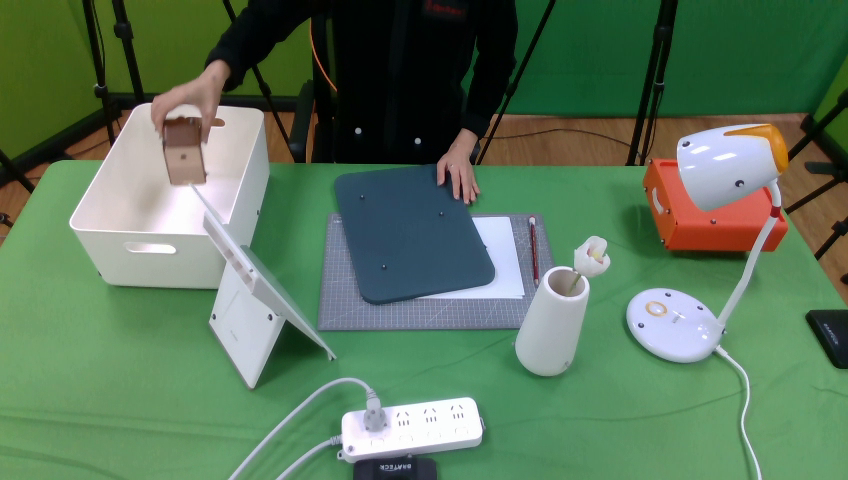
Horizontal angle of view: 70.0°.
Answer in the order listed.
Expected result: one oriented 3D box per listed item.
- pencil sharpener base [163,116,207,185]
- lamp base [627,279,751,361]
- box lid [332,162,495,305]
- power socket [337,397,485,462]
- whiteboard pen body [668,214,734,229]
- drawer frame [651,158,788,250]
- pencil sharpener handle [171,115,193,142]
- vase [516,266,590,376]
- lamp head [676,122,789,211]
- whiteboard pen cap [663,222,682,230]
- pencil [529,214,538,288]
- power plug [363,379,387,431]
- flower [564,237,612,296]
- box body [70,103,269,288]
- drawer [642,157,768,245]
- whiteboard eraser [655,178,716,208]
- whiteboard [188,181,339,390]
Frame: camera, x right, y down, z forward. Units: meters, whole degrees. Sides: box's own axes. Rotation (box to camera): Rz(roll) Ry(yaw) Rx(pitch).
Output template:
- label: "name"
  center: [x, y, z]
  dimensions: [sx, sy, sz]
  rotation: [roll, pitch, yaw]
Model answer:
- label: "pencil sharpener base"
  center: [-0.424, -0.159, 1.077]
  dimensions: [0.061, 0.107, 0.076]
  rotation: [-6, 57, -17]
- label: "lamp base"
  center: [0.459, 0.100, 1.027]
  dimensions: [0.178, 0.181, 0.160]
  rotation: [27, 51, 17]
- label: "box lid"
  center: [-0.031, -0.028, 1.228]
  dimensions: [0.264, 0.015, 0.369]
  rotation: [-9, 47, -13]
- label: "power socket"
  center: [-0.018, 0.285, 0.915]
  dimensions: [0.227, 0.033, 0.071]
  rotation: [-5, 46, -8]
- label: "whiteboard pen body"
  center: [0.547, -0.035, 1.200]
  dimensions: [0.141, 0.017, 0.017]
  rotation: [-8, 48, -9]
- label: "drawer frame"
  center: [0.571, -0.074, 1.213]
  dimensions: [0.214, 0.083, 0.200]
  rotation: [1, 46, 0]
- label: "pencil sharpener handle"
  center: [-0.434, -0.208, 1.093]
  dimensions: [0.036, 0.068, 0.030]
  rotation: [-6, 57, -17]
- label: "vase"
  center: [0.208, 0.132, 0.964]
  dimensions: [0.098, 0.201, 0.097]
  rotation: [3, 46, -3]
- label: "lamp head"
  center: [0.423, -0.104, 0.819]
  dimensions: [0.122, 0.113, 0.112]
  rotation: [-13, 33, 40]
- label: "whiteboard pen cap"
  center: [0.487, -0.027, 1.188]
  dimensions: [0.033, 0.018, 0.018]
  rotation: [0, 46, -15]
- label: "pencil"
  center: [0.219, 0.019, 1.202]
  dimensions: [0.012, 0.012, 0.193]
  rotation: [5, 48, 1]
- label: "power plug"
  center: [-0.072, 0.252, 0.910]
  dimensions: [0.035, 0.053, 0.072]
  rotation: [3, 45, -1]
- label: "flower"
  center: [0.206, 0.088, 0.892]
  dimensions: [0.038, 0.363, 0.044]
  rotation: [-16, 67, -9]
- label: "box body"
  center: [-0.450, -0.087, 1.148]
  dimensions: [0.254, 0.161, 0.361]
  rotation: [2, 46, -2]
- label: "drawer"
  center: [0.564, -0.075, 1.210]
  dimensions: [0.212, 0.073, 0.193]
  rotation: [3, 45, -1]
- label: "whiteboard eraser"
  center: [0.538, -0.095, 1.251]
  dimensions: [0.113, 0.042, 0.055]
  rotation: [4, 52, -10]
- label: "whiteboard"
  center: [-0.292, 0.096, 0.929]
  dimensions: [0.144, 0.307, 0.216]
  rotation: [-38, 57, -11]
